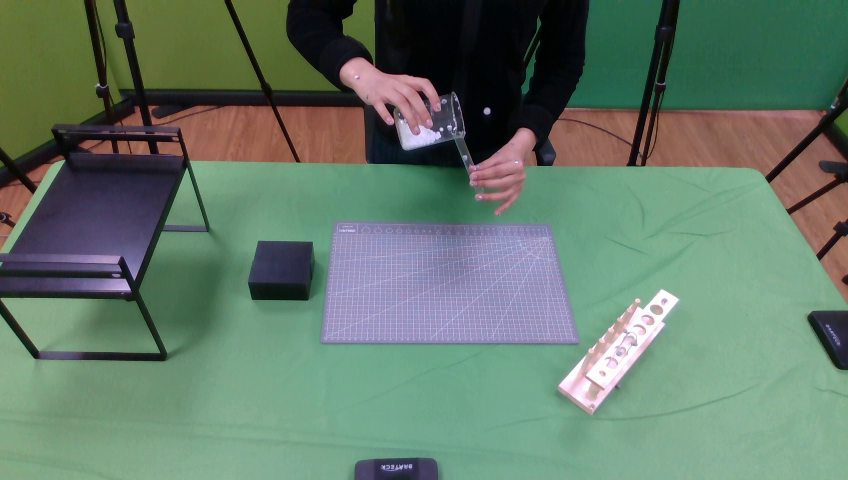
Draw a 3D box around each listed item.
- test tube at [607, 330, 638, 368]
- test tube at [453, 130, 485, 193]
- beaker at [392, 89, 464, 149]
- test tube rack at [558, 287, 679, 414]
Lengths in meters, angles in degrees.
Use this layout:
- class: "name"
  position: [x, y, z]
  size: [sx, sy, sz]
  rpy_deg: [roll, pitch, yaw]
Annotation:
- class: "test tube"
  position: [0.292, 0.184, 0.924]
  size: [0.017, 0.151, 0.017]
  rpy_deg: [4, 48, -4]
- class: "test tube"
  position: [0.078, -0.131, 1.036]
  size: [0.017, 0.151, 0.017]
  rpy_deg: [-12, 51, 16]
- class: "beaker"
  position: [0.005, -0.184, 0.948]
  size: [0.100, 0.084, 0.073]
  rpy_deg: [-14, 54, -3]
- class: "test tube rack"
  position: [0.326, 0.170, 1.009]
  size: [0.066, 0.085, 0.242]
  rpy_deg: [36, 54, 27]
